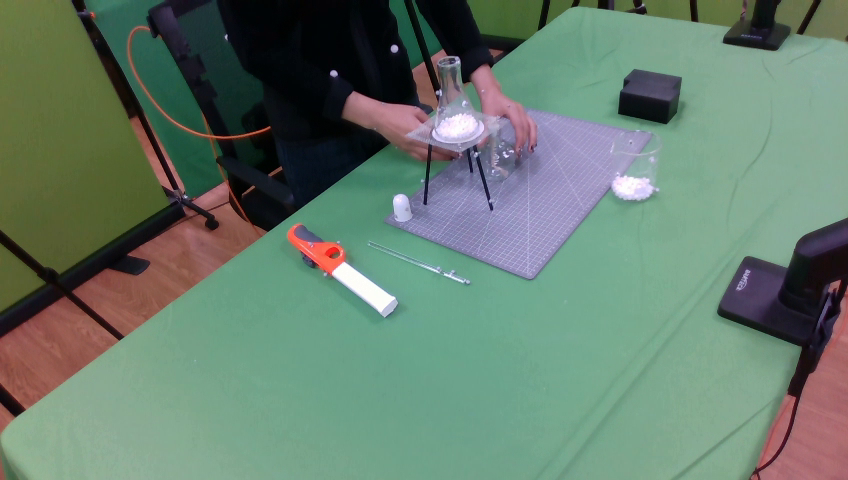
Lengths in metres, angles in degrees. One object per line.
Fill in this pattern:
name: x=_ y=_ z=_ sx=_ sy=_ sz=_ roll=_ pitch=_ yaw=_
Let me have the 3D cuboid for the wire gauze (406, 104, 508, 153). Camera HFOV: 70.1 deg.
wire gauze: x=0.054 y=-0.183 z=0.997 sx=0.120 sy=0.011 sz=0.125 roll=25 pitch=53 yaw=38

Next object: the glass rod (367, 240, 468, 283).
glass rod: x=-0.015 y=0.032 z=0.959 sx=0.198 sy=0.008 sz=0.008 roll=21 pitch=49 yaw=30

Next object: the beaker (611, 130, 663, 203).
beaker: x=0.346 y=-0.118 z=0.998 sx=0.084 sy=0.101 sz=0.073 roll=-17 pitch=40 yaw=-7

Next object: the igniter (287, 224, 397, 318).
igniter: x=-0.139 y=0.042 z=0.958 sx=0.057 sy=0.025 sz=0.274 roll=-42 pitch=49 yaw=-19

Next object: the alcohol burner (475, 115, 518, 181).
alcohol burner: x=0.128 y=-0.168 z=1.082 sx=0.078 sy=0.119 sz=0.077 roll=-5 pitch=38 yaw=5

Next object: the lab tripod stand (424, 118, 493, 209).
lab tripod stand: x=0.061 y=-0.133 z=1.038 sx=0.148 sy=0.132 sz=0.147 roll=-6 pitch=38 yaw=6

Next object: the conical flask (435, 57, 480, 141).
conical flask: x=0.046 y=-0.225 z=0.955 sx=0.075 sy=0.122 sz=0.075 roll=-7 pitch=39 yaw=6

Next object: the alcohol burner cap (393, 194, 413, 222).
alcohol burner cap: x=-0.039 y=-0.057 z=1.038 sx=0.034 sy=0.048 sz=0.033 roll=-5 pitch=40 yaw=5
